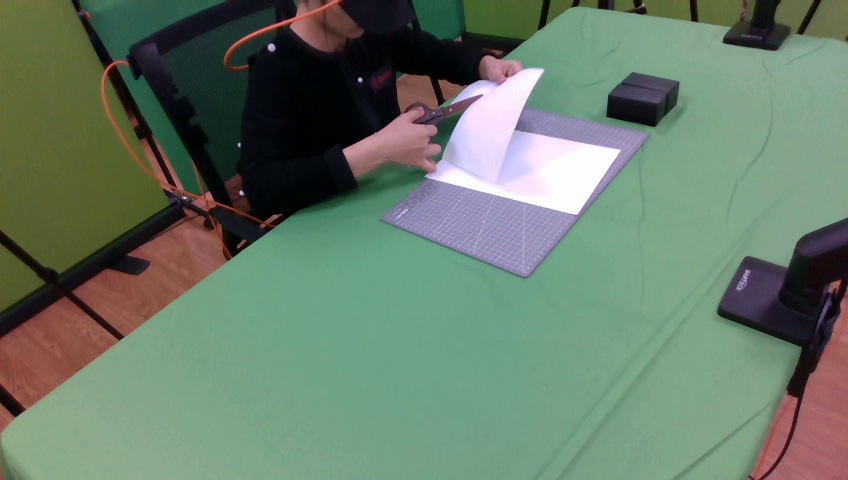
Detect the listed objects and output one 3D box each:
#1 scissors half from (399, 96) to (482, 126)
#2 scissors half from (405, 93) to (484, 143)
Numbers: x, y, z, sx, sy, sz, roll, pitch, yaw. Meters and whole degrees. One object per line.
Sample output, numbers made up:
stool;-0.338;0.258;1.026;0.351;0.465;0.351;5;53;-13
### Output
scissors half;0.034;-0.253;1.143;0.176;0.040;0.012;-18;22;-15
scissors half;0.042;-0.235;1.150;0.175;0.040;0.012;-34;20;-8
